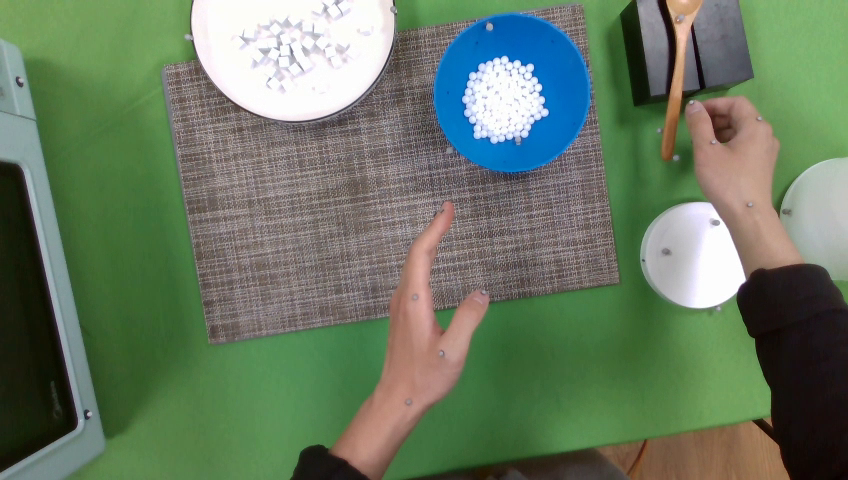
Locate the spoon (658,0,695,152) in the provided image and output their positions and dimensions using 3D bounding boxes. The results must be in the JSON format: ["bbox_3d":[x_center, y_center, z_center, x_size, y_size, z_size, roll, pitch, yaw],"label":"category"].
[{"bbox_3d":[0.246,-0.185,0.596,0.042,0.021,0.194,3,98,-4],"label":"spoon"}]

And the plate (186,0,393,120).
[{"bbox_3d":[-0.134,-0.225,0.624,0.209,0.038,0.209,0,90,0],"label":"plate"}]

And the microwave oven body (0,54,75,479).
[{"bbox_3d":[-0.536,0.042,0.522,0.326,0.260,0.442,-11,93,-1],"label":"microwave oven body"}]

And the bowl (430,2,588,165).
[{"bbox_3d":[0.080,-0.148,0.609,0.151,0.077,0.151,0,93,0],"label":"bowl"}]

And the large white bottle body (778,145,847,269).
[{"bbox_3d":[0.445,-0.032,0.569,0.130,0.184,0.130,0,92,0],"label":"large white bottle body"}]

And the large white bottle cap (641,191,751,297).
[{"bbox_3d":[0.293,0.004,0.653,0.115,0.018,0.115,0,93,-1],"label":"large white bottle cap"}]

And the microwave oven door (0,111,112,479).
[{"bbox_3d":[-0.383,0.054,0.520,0.039,0.243,0.356,-12,93,0],"label":"microwave oven door"}]

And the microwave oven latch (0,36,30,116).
[{"bbox_3d":[-0.425,-0.164,0.609,0.030,0.029,0.079,-11,94,-1],"label":"microwave oven latch"}]
